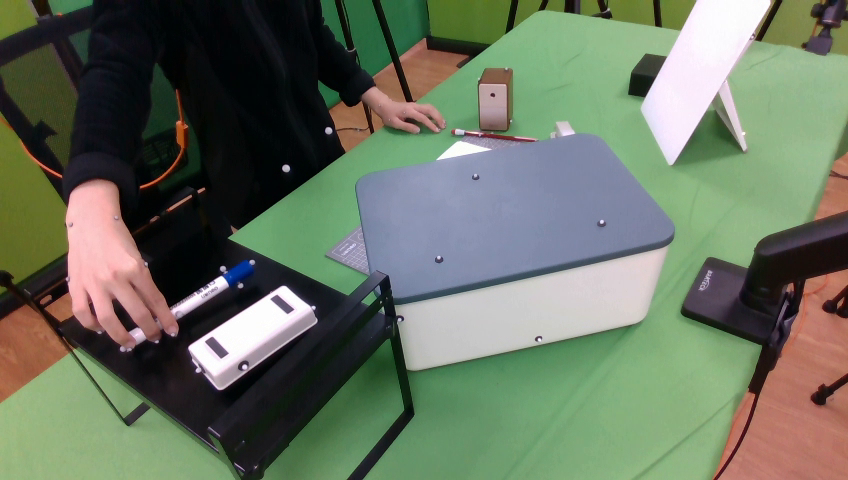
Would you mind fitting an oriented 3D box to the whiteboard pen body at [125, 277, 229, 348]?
[{"bbox_3d":[-0.252,0.069,0.648,0.141,0.017,0.017,-35,48,-25],"label":"whiteboard pen body"}]

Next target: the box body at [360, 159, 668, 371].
[{"bbox_3d":[0.108,0.014,0.833,0.365,0.161,0.252,-11,41,-5],"label":"box body"}]

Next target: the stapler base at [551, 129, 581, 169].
[{"bbox_3d":[0.268,-0.178,1.142,0.041,0.024,0.130,0,37,3],"label":"stapler base"}]

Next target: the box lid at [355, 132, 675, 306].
[{"bbox_3d":[0.103,-0.042,0.785,0.372,0.015,0.261,-12,41,-5],"label":"box lid"}]

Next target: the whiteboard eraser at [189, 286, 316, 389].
[{"bbox_3d":[-0.166,0.096,0.593,0.113,0.042,0.055,-36,47,-29],"label":"whiteboard eraser"}]

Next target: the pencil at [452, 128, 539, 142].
[{"bbox_3d":[0.146,-0.207,1.205,0.193,0.012,0.012,10,43,19],"label":"pencil"}]

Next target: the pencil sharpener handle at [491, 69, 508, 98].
[{"bbox_3d":[0.155,-0.329,1.254,0.036,0.068,0.030,17,43,3],"label":"pencil sharpener handle"}]

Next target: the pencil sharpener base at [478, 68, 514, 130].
[{"bbox_3d":[0.148,-0.286,1.224,0.061,0.107,0.076,5,41,15],"label":"pencil sharpener base"}]

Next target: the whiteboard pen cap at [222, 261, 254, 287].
[{"bbox_3d":[-0.208,0.038,0.672,0.033,0.018,0.018,-36,48,-23],"label":"whiteboard pen cap"}]

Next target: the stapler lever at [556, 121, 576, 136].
[{"bbox_3d":[0.266,-0.198,1.128,0.027,0.040,0.117,0,38,3],"label":"stapler lever"}]

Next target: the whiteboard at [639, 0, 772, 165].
[{"bbox_3d":[0.543,-0.298,1.076,0.144,0.305,0.216,12,40,-7],"label":"whiteboard"}]
